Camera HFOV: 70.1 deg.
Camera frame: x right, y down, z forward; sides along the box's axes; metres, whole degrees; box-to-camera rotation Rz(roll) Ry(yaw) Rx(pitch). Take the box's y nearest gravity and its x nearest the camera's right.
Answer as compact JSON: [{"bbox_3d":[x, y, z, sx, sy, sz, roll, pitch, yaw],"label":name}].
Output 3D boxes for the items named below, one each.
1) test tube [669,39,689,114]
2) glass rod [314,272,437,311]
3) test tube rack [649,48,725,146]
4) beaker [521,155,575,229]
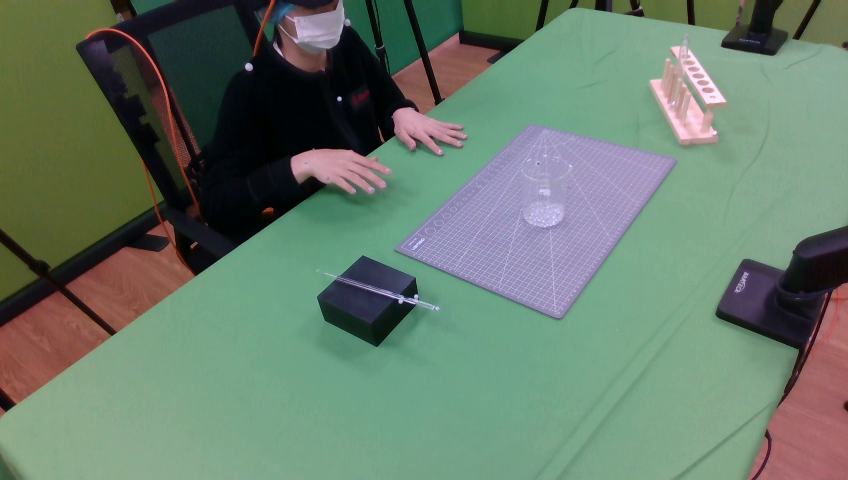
[{"bbox_3d":[0.482,-0.308,1.146,0.017,0.151,0.017,-5,42,5],"label":"test tube"},{"bbox_3d":[-0.072,0.069,0.837,0.198,0.008,0.008,14,44,24],"label":"glass rod"},{"bbox_3d":[0.508,-0.285,1.186,0.067,0.085,0.241,-4,40,6],"label":"test tube rack"},{"bbox_3d":[0.197,-0.075,0.969,0.084,0.101,0.073,-6,40,2],"label":"beaker"}]
